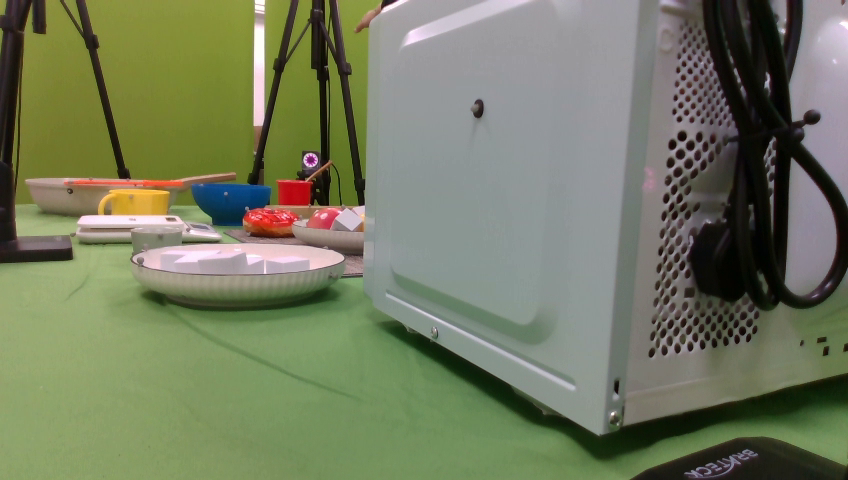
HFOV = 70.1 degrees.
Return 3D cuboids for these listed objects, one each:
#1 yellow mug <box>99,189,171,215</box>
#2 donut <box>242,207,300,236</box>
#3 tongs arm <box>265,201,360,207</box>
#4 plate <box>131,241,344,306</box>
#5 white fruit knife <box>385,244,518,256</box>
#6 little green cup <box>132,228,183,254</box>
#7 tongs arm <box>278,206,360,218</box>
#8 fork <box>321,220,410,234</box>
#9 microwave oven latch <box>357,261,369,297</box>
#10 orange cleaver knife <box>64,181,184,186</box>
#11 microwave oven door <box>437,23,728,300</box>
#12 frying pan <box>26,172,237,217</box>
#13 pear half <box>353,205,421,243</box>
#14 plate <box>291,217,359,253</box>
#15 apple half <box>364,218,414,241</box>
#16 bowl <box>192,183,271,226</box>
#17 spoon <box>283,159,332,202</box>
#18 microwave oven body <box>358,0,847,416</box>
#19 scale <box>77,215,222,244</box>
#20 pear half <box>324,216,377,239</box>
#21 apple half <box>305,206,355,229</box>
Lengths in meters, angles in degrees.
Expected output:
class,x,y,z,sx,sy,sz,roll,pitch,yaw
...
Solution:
class,x,y,z,sx,sy,sz,roll,pitch,yaw
yellow mug,-0.519,-0.055,1.080,0.099,0.064,0.131,7,10,26
donut,-0.263,-0.031,1.039,0.099,0.048,0.099,5,9,0
tongs arm,-0.218,-0.078,1.469,0.389,0.028,0.028,0,2,-26
plate,-0.187,0.033,0.625,0.208,0.039,0.207,2,7,0
white fruit knife,0.041,0.016,0.878,0.208,0.016,0.027,-2,-3,-24
little green cup,-0.342,0.006,0.779,0.061,0.038,0.061,2,8,0
tongs arm,-0.171,-0.067,1.401,0.387,0.026,0.050,-3,7,-40
fork,-0.105,-0.025,1.131,0.208,0.028,0.018,-1,34,-40
microwave oven latch,-0.019,0.033,0.530,0.079,0.029,0.030,-1,7,-26
orange cleaver knife,-0.595,-0.114,1.212,0.212,0.012,0.077,-4,7,-41
microwave oven door,0.181,-0.072,0.621,0.358,0.243,0.039,-2,8,-29
frying pan,-0.624,-0.118,1.387,0.305,0.102,0.490,8,17,32
pear half,-0.051,-0.023,0.905,0.110,0.056,0.076,2,-2,-38
plate,-0.103,-0.009,0.945,0.209,0.038,0.209,2,7,0
apple half,-0.054,-0.019,0.968,0.081,0.033,0.081,-2,9,1
bowl,-0.382,-0.070,1.202,0.151,0.077,0.151,3,7,0
spoon,-0.316,-0.159,1.640,0.194,0.022,0.041,-50,32,-20
microwave oven body,0.211,-0.047,0.474,0.444,0.260,0.324,-1,7,-28
scale,-0.434,-0.019,0.963,0.202,0.031,0.148,-1,9,-27
pear half,-0.119,-0.023,0.996,0.088,0.031,0.070,-4,23,-27
apple half,-0.138,-0.025,0.917,0.081,0.053,0.074,0,10,-43
